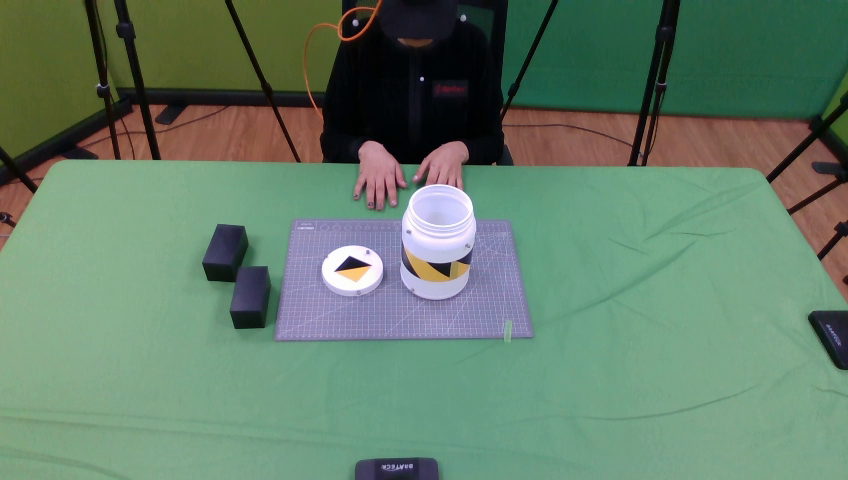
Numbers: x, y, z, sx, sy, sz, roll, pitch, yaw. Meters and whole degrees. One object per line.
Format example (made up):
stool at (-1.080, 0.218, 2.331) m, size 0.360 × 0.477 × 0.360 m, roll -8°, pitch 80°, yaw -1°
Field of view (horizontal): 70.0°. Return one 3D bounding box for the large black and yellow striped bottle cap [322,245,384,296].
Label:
large black and yellow striped bottle cap at (-0.133, 0.055, 1.135) m, size 0.115 × 0.019 × 0.114 m, roll 2°, pitch 47°, yaw -2°

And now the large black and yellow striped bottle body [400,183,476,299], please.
large black and yellow striped bottle body at (0.024, 0.003, 1.079) m, size 0.131 × 0.185 × 0.130 m, roll 2°, pitch 46°, yaw -2°
